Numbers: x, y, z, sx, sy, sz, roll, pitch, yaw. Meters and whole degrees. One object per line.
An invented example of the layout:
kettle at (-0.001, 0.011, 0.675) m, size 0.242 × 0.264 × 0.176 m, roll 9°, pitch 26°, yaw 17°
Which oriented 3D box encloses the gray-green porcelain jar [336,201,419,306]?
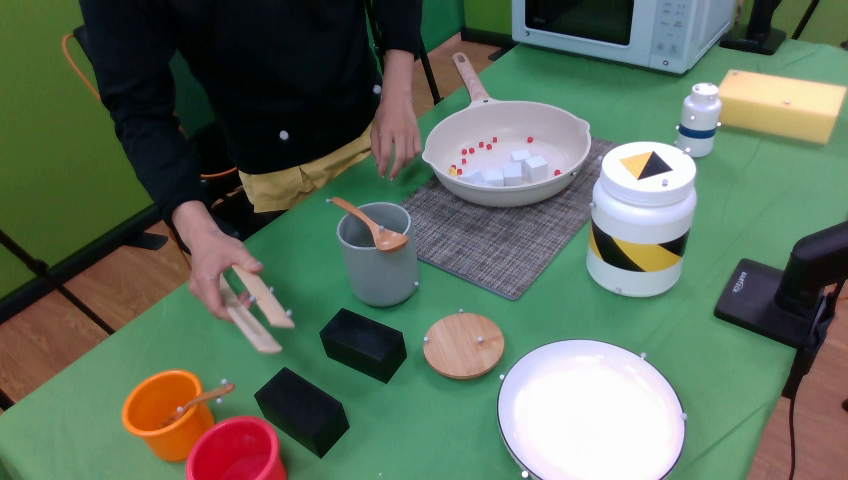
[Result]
gray-green porcelain jar at (-0.064, 0.024, 0.872) m, size 0.106 × 0.127 × 0.105 m, roll -4°, pitch 41°, yaw 4°

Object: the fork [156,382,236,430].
fork at (-0.262, 0.189, 0.690) m, size 0.018 × 0.206 × 0.028 m, roll 49°, pitch 43°, yaw -6°

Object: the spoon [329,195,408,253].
spoon at (-0.082, -0.029, 0.828) m, size 0.042 × 0.022 × 0.192 m, roll -32°, pitch 43°, yaw -20°

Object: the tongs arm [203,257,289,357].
tongs arm at (-0.248, 0.080, 0.803) m, size 0.028 × 0.028 × 0.384 m, roll 0°, pitch 12°, yaw -30°

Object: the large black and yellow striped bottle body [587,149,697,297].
large black and yellow striped bottle body at (0.298, -0.026, 0.835) m, size 0.131 × 0.185 × 0.130 m, roll -4°, pitch 41°, yaw 4°

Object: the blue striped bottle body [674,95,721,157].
blue striped bottle body at (0.486, -0.213, 1.072) m, size 0.063 × 0.121 × 0.063 m, roll -4°, pitch 41°, yaw 4°

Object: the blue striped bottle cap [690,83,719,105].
blue striped bottle cap at (0.481, -0.251, 1.038) m, size 0.044 × 0.021 × 0.044 m, roll -5°, pitch 39°, yaw 5°

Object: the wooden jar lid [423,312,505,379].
wooden jar lid at (0.053, 0.142, 0.800) m, size 0.108 × 0.021 × 0.108 m, roll -5°, pitch 39°, yaw 4°

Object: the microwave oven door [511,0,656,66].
microwave oven door at (0.350, -0.539, 1.348) m, size 0.353 × 0.245 × 0.039 m, roll 24°, pitch 50°, yaw 31°

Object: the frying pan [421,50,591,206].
frying pan at (0.127, -0.233, 1.155) m, size 0.307 × 0.103 × 0.484 m, roll -11°, pitch 49°, yaw -5°

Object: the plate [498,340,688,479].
plate at (0.189, 0.206, 0.692) m, size 0.207 × 0.039 × 0.206 m, roll -4°, pitch 40°, yaw 4°

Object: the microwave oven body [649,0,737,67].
microwave oven body at (0.475, -0.602, 1.411) m, size 0.438 × 0.261 × 0.327 m, roll 23°, pitch 50°, yaw 32°

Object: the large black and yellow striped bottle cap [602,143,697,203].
large black and yellow striped bottle cap at (0.289, -0.088, 0.778) m, size 0.115 × 0.019 × 0.114 m, roll -5°, pitch 40°, yaw 4°

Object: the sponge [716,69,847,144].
sponge at (0.663, -0.256, 1.142) m, size 0.205 × 0.061 × 0.118 m, roll 19°, pitch 47°, yaw 28°

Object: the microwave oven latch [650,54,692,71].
microwave oven latch at (0.530, -0.386, 1.301) m, size 0.078 × 0.029 × 0.030 m, roll 23°, pitch 50°, yaw 32°

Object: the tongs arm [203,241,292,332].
tongs arm at (-0.244, 0.059, 0.799) m, size 0.027 × 0.051 × 0.381 m, roll 4°, pitch 15°, yaw -30°
